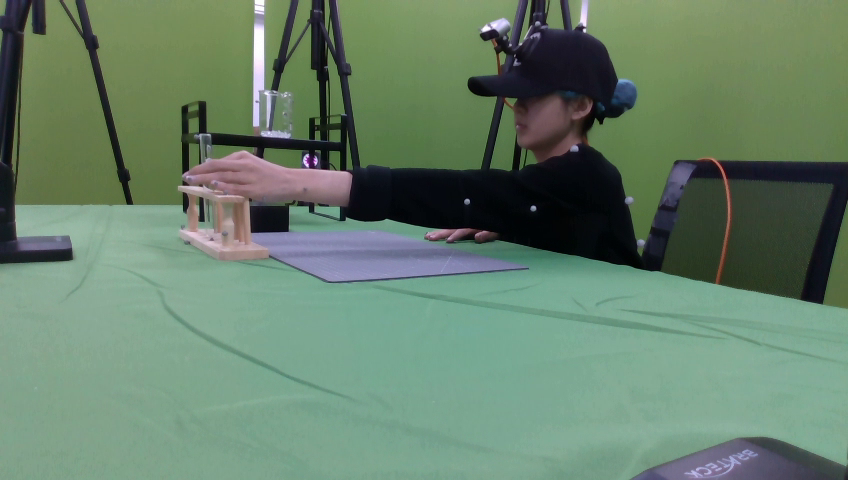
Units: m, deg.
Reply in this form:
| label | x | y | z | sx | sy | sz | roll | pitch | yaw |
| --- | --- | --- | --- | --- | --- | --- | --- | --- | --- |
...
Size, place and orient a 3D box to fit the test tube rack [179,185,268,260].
| label | x | y | z | sx | sy | sz | roll | pitch | yaw |
| --- | --- | --- | --- | --- | --- | --- | --- | --- | --- |
| test tube rack | -0.303 | -0.031 | 0.898 | 0.067 | 0.085 | 0.241 | -2 | 9 | -33 |

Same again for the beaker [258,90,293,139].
| label | x | y | z | sx | sy | sz | roll | pitch | yaw |
| --- | --- | --- | --- | --- | --- | --- | --- | --- | --- |
| beaker | -0.324 | -0.274 | 1.326 | 0.074 | 0.100 | 0.083 | -2 | 10 | -33 |

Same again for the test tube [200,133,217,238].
| label | x | y | z | sx | sy | sz | roll | pitch | yaw |
| --- | --- | --- | --- | --- | --- | --- | --- | --- | --- |
| test tube | -0.309 | -0.078 | 0.868 | 0.017 | 0.150 | 0.017 | 0 | 10 | 0 |
